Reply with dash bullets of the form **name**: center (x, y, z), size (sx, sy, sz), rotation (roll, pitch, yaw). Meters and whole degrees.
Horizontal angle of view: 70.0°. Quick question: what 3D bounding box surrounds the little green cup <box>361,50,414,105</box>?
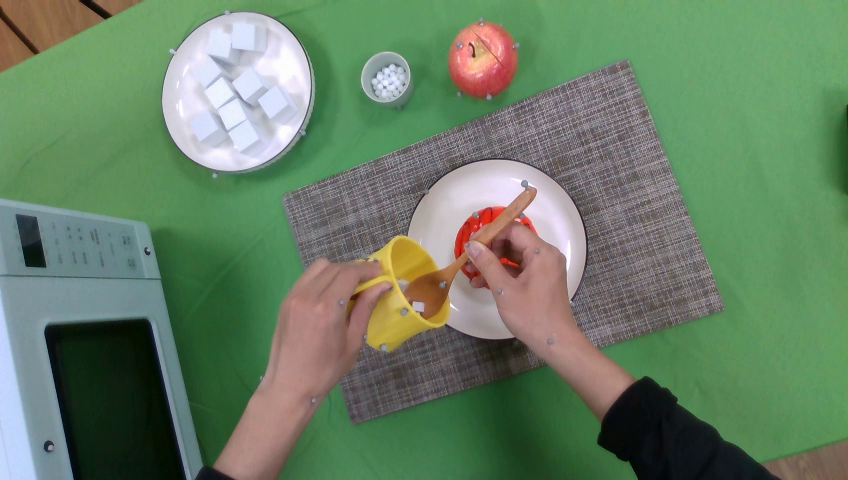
- **little green cup**: center (-0.042, -0.195, 0.738), size (0.061, 0.039, 0.061), rotation (-1, 87, 13)

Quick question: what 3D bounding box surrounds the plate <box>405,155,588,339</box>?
- **plate**: center (0.081, 0.008, 0.696), size (0.208, 0.038, 0.208), rotation (-1, 87, 12)

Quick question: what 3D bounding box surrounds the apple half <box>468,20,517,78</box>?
- **apple half**: center (0.086, -0.224, 0.694), size (0.033, 0.081, 0.081), rotation (-41, 79, 11)

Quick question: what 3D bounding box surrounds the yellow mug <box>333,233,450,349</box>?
- **yellow mug**: center (-0.036, 0.050, 0.592), size (0.064, 0.132, 0.099), rotation (-29, 72, 26)

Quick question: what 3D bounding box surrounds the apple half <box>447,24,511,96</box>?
- **apple half**: center (0.057, -0.198, 0.700), size (0.053, 0.075, 0.080), rotation (-41, 83, 12)

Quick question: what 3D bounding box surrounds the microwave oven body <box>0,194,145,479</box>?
- **microwave oven body**: center (-0.480, 0.213, 0.691), size (0.326, 0.261, 0.440), rotation (-17, 84, 10)

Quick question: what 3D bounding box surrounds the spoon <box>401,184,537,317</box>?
- **spoon**: center (0.040, 0.014, 0.575), size (0.041, 0.021, 0.194), rotation (49, 126, 7)

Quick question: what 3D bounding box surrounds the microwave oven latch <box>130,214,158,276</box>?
- **microwave oven latch**: center (-0.367, 0.008, 0.777), size (0.030, 0.029, 0.079), rotation (-14, 85, 10)

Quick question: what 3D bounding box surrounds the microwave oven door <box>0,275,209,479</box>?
- **microwave oven door**: center (-0.333, 0.212, 0.654), size (0.039, 0.245, 0.354), rotation (-17, 83, 11)

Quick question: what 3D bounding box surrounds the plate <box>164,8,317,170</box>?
- **plate**: center (-0.232, -0.190, 0.778), size (0.207, 0.039, 0.207), rotation (-1, 87, 12)

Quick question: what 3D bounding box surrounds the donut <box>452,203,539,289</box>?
- **donut**: center (0.081, 0.006, 0.685), size (0.099, 0.048, 0.099), rotation (0, 89, 13)
